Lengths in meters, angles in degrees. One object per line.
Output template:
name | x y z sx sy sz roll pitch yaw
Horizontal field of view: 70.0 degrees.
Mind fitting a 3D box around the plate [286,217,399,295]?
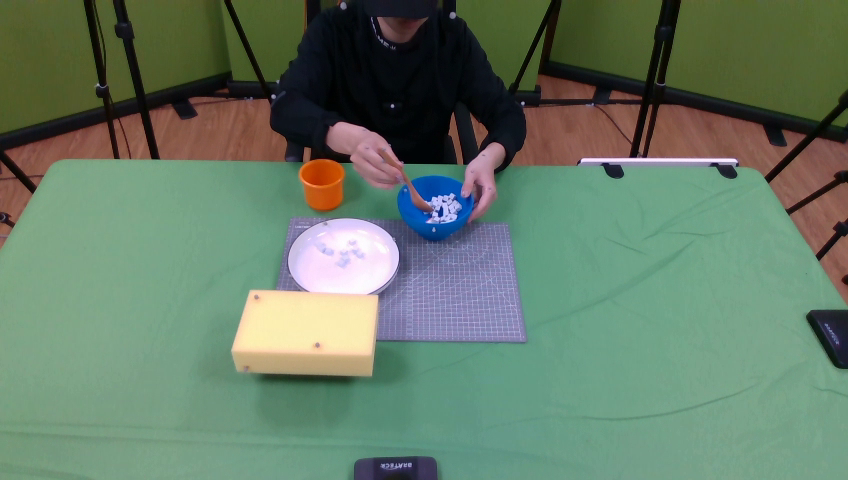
plate | -0.150 0.041 1.131 0.209 0.038 0.208 2 46 -2

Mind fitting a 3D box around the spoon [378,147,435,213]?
spoon | -0.033 -0.105 1.097 0.041 0.195 0.021 15 63 39

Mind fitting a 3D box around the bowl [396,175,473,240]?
bowl | 0.020 -0.053 1.196 0.151 0.077 0.150 1 44 -1

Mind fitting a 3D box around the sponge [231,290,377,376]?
sponge | -0.180 0.144 0.949 0.207 0.061 0.117 2 46 -2
